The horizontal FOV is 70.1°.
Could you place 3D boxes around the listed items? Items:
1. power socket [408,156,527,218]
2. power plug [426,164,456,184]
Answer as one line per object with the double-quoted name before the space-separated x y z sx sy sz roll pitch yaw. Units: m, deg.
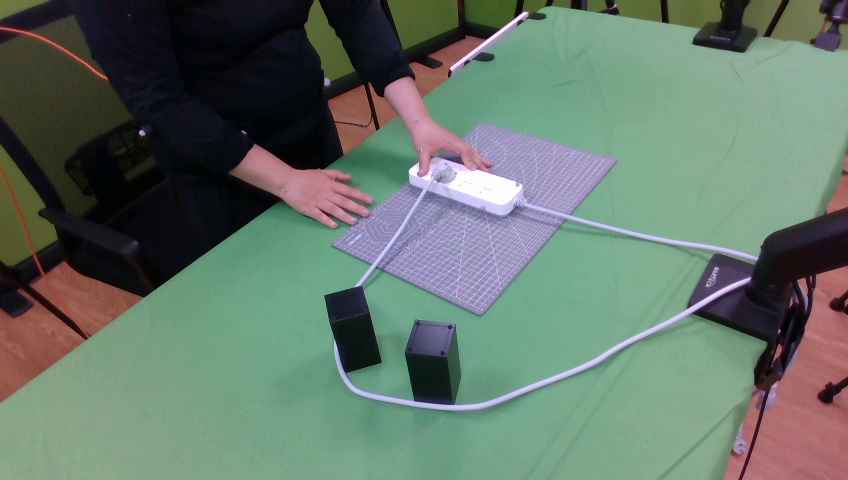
"power socket" 0.070 -0.096 1.060 0.225 0.033 0.072 22 49 30
"power plug" 0.024 -0.103 1.047 0.073 0.053 0.035 -36 46 -26
